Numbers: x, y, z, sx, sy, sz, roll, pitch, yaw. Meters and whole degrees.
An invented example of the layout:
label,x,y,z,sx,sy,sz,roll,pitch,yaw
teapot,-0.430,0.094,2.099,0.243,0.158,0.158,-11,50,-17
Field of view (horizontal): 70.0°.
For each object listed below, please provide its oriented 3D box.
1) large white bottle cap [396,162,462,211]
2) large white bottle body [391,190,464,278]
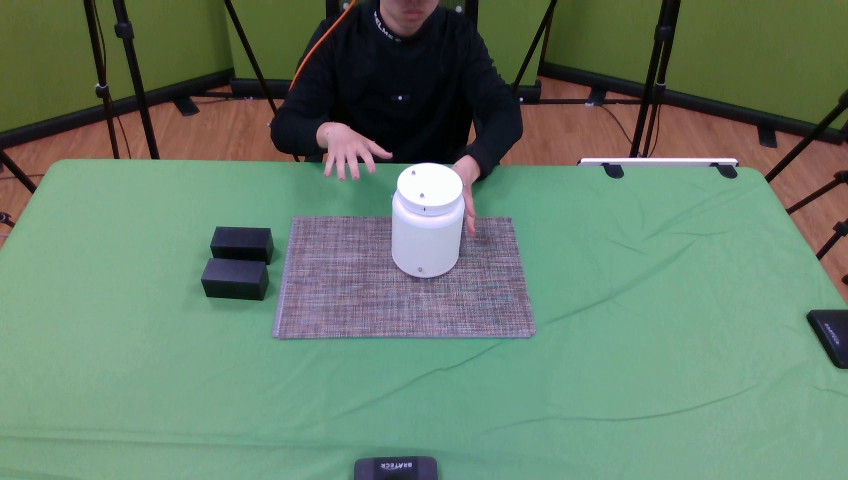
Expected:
label,x,y,z,sx,sy,sz,roll,pitch,yaw
large white bottle cap,0.009,-0.094,1.053,0.115,0.018,0.114,2,46,-2
large white bottle body,0.005,-0.034,1.113,0.131,0.185,0.130,2,46,-2
